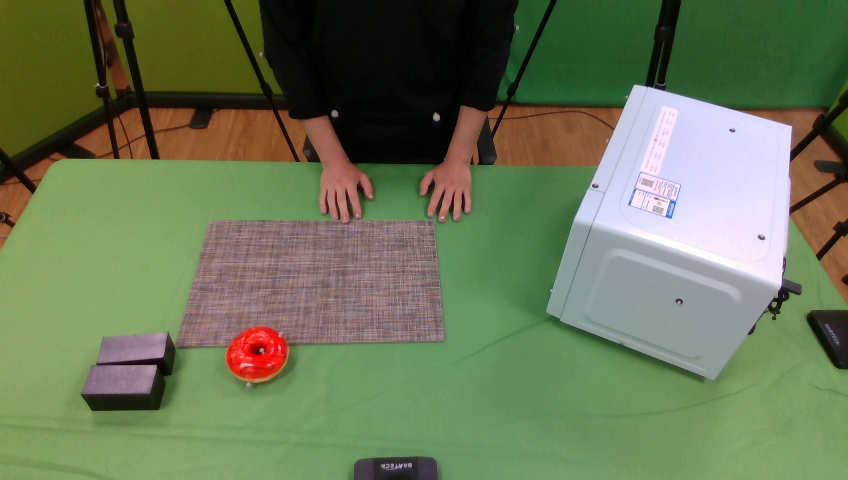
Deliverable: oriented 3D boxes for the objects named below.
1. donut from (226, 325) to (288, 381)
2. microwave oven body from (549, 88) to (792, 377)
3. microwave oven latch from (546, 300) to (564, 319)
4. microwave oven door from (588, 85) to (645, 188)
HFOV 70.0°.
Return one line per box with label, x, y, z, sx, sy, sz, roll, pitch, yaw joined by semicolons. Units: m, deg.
donut;-0.270;0.182;0.984;0.099;0.048;0.098;5;49;-5
microwave oven body;0.456;-0.028;1.088;0.325;0.261;0.440;20;47;16
microwave oven latch;0.242;0.102;1.081;0.030;0.029;0.079;21;48;17
microwave oven door;0.342;-0.107;1.149;0.039;0.245;0.354;20;48;15
